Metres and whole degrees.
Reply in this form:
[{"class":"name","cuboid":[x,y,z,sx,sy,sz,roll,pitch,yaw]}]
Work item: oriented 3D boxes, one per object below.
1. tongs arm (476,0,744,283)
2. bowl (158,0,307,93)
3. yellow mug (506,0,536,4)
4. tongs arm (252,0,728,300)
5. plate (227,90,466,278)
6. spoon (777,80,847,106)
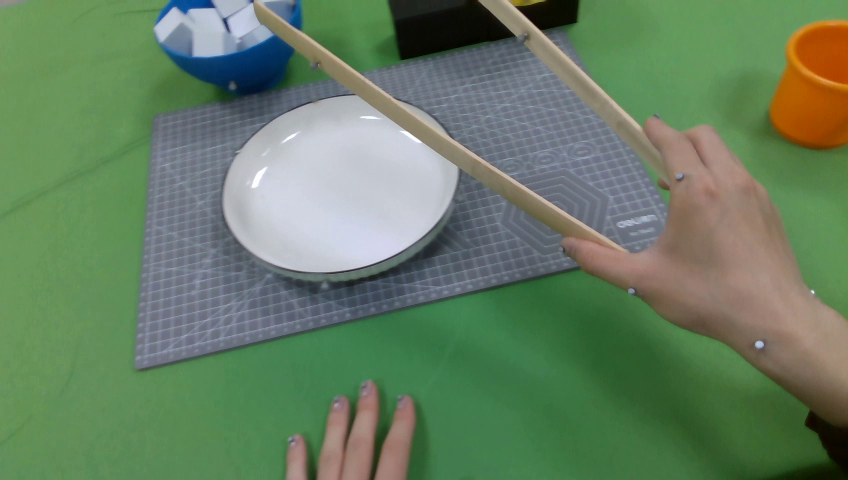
[{"class":"tongs arm","cuboid":[0.077,-0.121,0.432,0.051,0.027,0.382,-39,73,-12]},{"class":"bowl","cuboid":[-0.191,-0.211,0.643,0.151,0.077,0.150,-3,54,5]},{"class":"yellow mug","cuboid":[0.085,-0.291,0.612,0.131,0.064,0.099,-26,56,-10]},{"class":"tongs arm","cuboid":[0.023,-0.071,0.418,0.385,0.028,0.028,36,71,15]},{"class":"plate","cuboid":[-0.066,-0.051,0.536,0.207,0.039,0.205,-3,55,5]},{"class":"spoon","cuboid":[0.363,-0.127,0.473,0.041,0.193,0.022,-31,100,-12]}]
